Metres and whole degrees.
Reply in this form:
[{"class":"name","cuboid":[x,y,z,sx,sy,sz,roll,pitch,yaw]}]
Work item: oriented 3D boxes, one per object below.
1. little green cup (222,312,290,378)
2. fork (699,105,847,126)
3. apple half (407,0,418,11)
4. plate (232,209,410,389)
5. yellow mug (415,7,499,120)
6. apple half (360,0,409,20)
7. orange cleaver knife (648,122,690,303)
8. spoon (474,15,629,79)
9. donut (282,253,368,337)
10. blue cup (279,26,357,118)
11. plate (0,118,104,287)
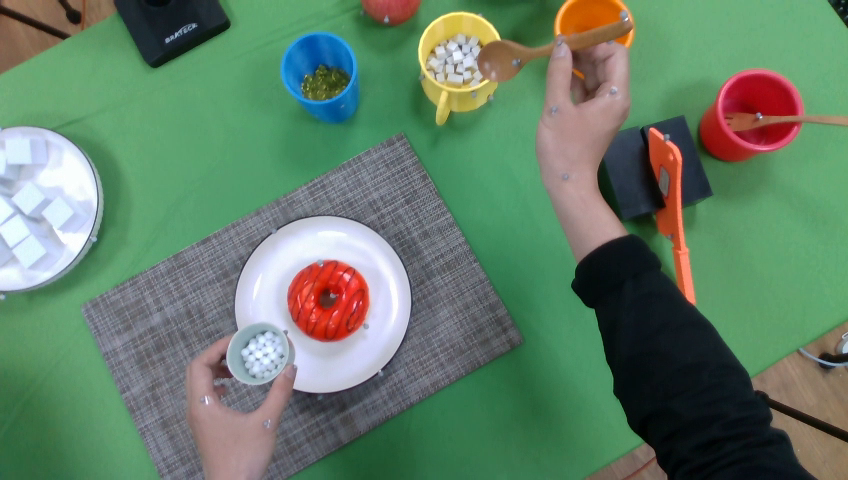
[{"class":"little green cup","cuboid":[-0.163,0.106,0.601,0.061,0.039,0.061,-2,61,4]},{"class":"fork","cuboid":[0.413,-0.138,0.676,0.205,0.019,0.028,13,66,46]},{"class":"apple half","cuboid":[-0.020,-0.327,0.751,0.033,0.081,0.081,-23,81,1]},{"class":"plate","cuboid":[-0.118,0.068,0.713,0.209,0.038,0.208,0,82,2]},{"class":"yellow mug","cuboid":[0.035,-0.207,0.737,0.100,0.064,0.130,19,84,4]},{"class":"apple half","cuboid":[-0.056,-0.310,0.751,0.053,0.075,0.080,-24,85,1]},{"class":"orange cleaver knife","cuboid":[0.280,-0.030,0.697,0.012,0.076,0.213,-14,111,2]},{"class":"spoon","cuboid":[0.106,-0.173,0.544,0.021,0.192,0.042,-31,111,-21]},{"class":"donut","cuboid":[-0.114,0.064,0.703,0.099,0.048,0.099,0,83,3]},{"class":"blue cup","cuboid":[-0.118,-0.191,0.722,0.092,0.100,0.092,0,83,1]},{"class":"plate","cuboid":[-0.491,-0.045,0.744,0.207,0.039,0.207,0,82,2]}]
